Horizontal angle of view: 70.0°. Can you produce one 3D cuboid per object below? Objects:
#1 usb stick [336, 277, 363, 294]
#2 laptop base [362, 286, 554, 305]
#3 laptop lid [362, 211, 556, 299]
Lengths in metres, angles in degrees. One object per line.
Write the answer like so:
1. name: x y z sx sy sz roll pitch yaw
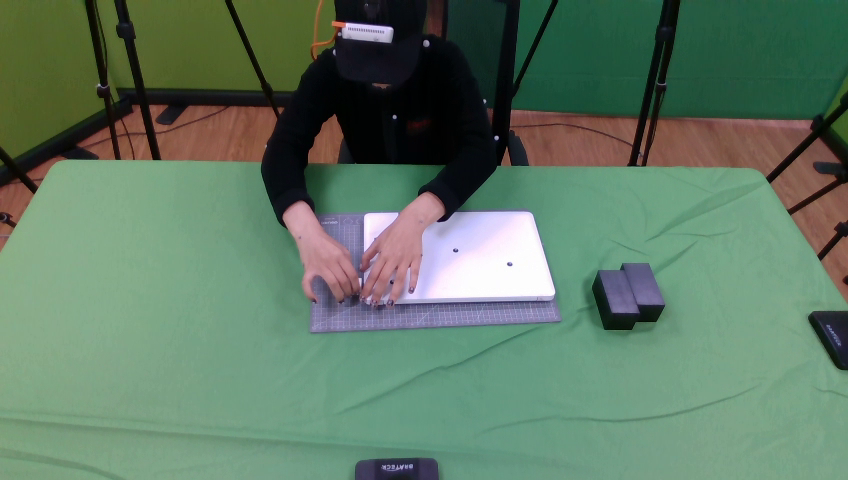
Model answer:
1. usb stick: -0.128 0.083 1.094 0.059 0.027 0.021 2 43 -5
2. laptop base: 0.059 0.032 1.174 0.355 0.023 0.234 -1 43 -5
3. laptop lid: 0.059 0.022 1.168 0.357 0.013 0.240 0 44 -4
